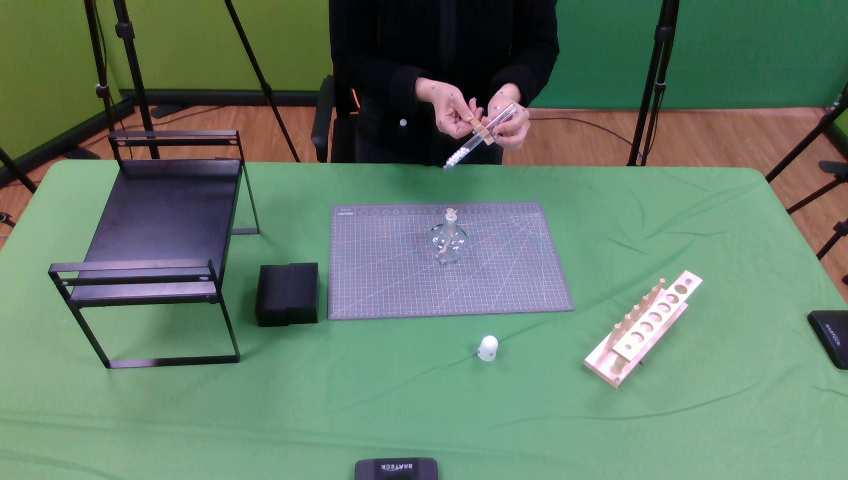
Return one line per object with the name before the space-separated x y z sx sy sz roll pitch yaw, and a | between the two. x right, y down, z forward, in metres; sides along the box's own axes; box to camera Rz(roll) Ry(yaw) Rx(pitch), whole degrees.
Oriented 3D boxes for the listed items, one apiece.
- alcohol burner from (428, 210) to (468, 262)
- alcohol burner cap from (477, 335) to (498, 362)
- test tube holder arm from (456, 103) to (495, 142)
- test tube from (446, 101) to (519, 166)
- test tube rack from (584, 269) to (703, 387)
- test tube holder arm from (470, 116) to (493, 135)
alcohol burner | 0.048 -0.014 1.146 0.078 0.119 0.077 3 48 -3
alcohol burner cap | 0.108 0.179 1.017 0.034 0.048 0.033 3 51 -4
test tube holder arm | 0.087 -0.209 1.062 0.015 0.013 0.177 -23 32 -2
test tube | 0.095 -0.175 1.003 0.150 0.017 0.017 -41 53 7
test tube rack | 0.381 0.139 1.046 0.066 0.085 0.242 37 54 28
test tube holder arm | 0.095 -0.194 1.021 0.015 0.010 0.087 -23 25 -2
